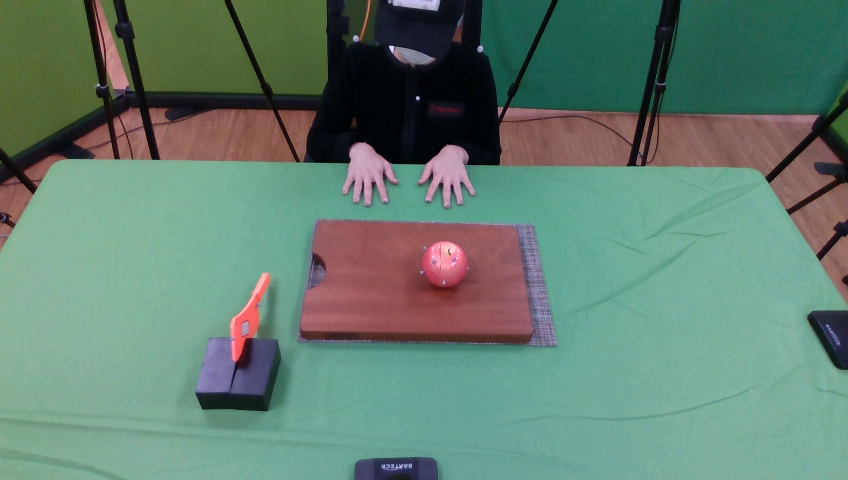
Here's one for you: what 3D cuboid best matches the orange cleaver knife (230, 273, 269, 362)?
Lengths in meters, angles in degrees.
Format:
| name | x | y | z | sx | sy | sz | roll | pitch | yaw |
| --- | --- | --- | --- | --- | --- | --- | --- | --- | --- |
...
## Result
| name | x | y | z | sx | sy | sz | roll | pitch | yaw |
| --- | --- | --- | --- | --- | --- | --- | --- | --- | --- |
| orange cleaver knife | -0.290 | 0.124 | 1.014 | 0.012 | 0.077 | 0.210 | 1 | 23 | 1 |

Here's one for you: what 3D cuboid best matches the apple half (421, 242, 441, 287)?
| name | x | y | z | sx | sy | sz | roll | pitch | yaw |
| --- | --- | --- | --- | --- | --- | --- | --- | --- | --- |
| apple half | 0.010 | 0.045 | 1.079 | 0.033 | 0.081 | 0.081 | 3 | 45 | -6 |

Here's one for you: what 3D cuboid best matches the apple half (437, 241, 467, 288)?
| name | x | y | z | sx | sy | sz | roll | pitch | yaw |
| --- | --- | --- | --- | --- | --- | --- | --- | --- | --- |
| apple half | 0.049 | 0.047 | 1.083 | 0.053 | 0.075 | 0.080 | 3 | 41 | -6 |
